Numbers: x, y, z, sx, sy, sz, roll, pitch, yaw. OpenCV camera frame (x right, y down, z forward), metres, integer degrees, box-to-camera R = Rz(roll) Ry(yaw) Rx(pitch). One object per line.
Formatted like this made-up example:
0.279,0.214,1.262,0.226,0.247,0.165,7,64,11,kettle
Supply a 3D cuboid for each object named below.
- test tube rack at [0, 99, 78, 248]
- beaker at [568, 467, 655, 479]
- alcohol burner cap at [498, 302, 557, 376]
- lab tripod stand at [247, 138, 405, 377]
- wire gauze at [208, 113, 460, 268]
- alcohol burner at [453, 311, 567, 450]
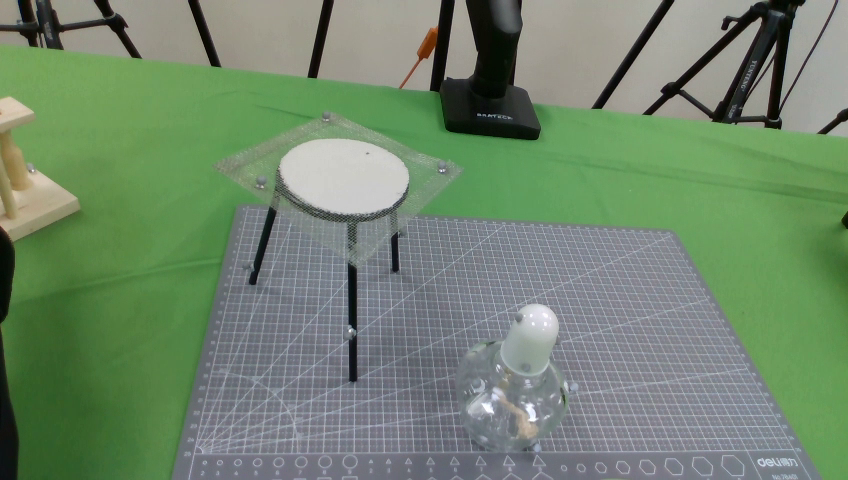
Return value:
-0.393,-0.014,0.438,0.066,0.086,0.242,29,43,20,test tube rack
0.075,0.159,0.250,0.073,0.101,0.083,18,36,14,beaker
0.066,0.059,0.377,0.034,0.048,0.033,4,46,-4,alcohol burner cap
-0.064,0.005,0.450,0.149,0.132,0.147,8,41,-7,lab tripod stand
-0.056,-0.044,0.405,0.124,0.011,0.121,30,45,19,wire gauze
0.061,0.086,0.402,0.078,0.120,0.077,8,40,-6,alcohol burner
